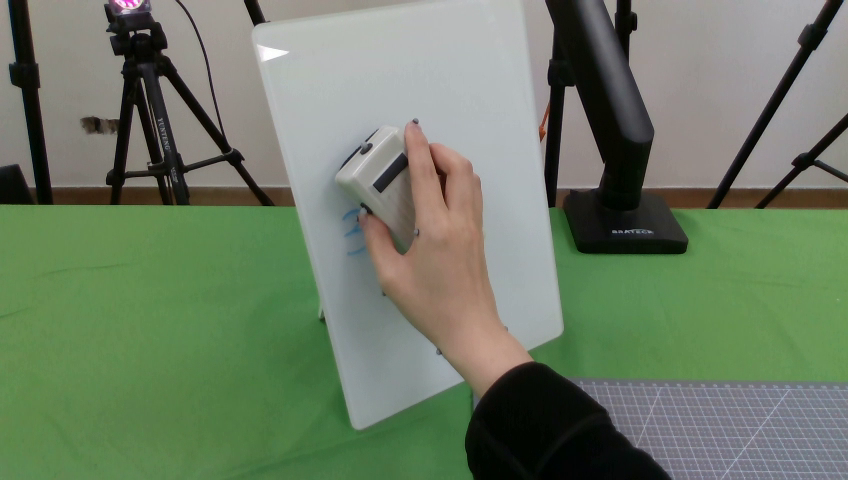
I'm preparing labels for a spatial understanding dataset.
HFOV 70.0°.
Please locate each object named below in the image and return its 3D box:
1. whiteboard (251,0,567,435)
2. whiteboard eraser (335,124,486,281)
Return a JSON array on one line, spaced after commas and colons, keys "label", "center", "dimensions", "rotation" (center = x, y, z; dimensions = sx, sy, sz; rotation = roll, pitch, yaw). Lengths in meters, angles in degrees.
[{"label": "whiteboard", "center": [-0.020, -0.036, 0.527], "dimensions": [0.218, 0.307, 0.142], "rotation": [-19, 19, -24]}, {"label": "whiteboard eraser", "center": [-0.008, -0.025, 0.435], "dimensions": [0.055, 0.114, 0.041], "rotation": [-50, 28, -14]}]
